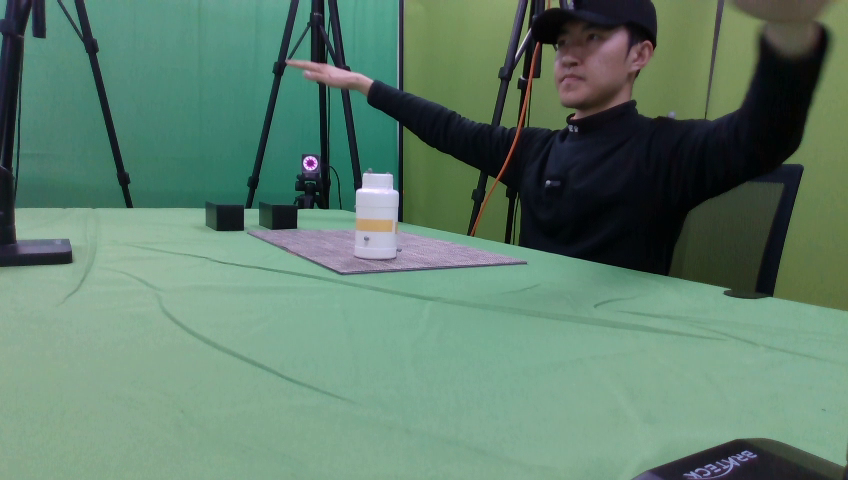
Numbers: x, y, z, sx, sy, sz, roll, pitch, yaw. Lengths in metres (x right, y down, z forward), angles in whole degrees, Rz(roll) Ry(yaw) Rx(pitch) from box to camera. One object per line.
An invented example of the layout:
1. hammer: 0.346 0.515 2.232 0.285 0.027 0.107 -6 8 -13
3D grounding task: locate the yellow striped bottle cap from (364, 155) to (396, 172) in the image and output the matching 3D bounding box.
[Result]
1. yellow striped bottle cap: -0.063 -0.109 0.859 0.044 0.018 0.044 10 6 -1

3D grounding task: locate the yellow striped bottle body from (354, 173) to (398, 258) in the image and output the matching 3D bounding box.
1. yellow striped bottle body: -0.069 -0.037 0.873 0.063 0.120 0.063 2 7 0
